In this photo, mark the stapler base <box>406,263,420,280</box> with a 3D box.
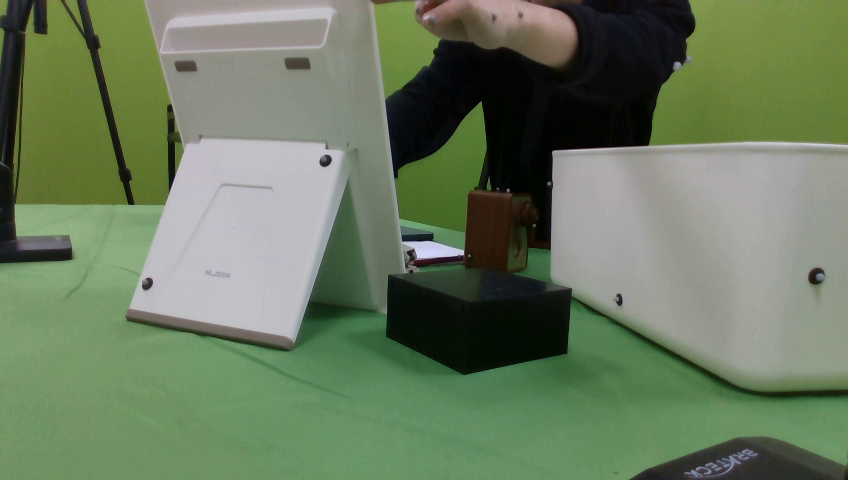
[{"bbox_3d":[-0.069,0.027,0.759,0.130,0.024,0.041,10,14,23],"label":"stapler base"}]

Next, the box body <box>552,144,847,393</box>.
[{"bbox_3d":[0.290,0.002,0.549,0.255,0.160,0.363,2,7,-10],"label":"box body"}]

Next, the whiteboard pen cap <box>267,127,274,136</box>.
[{"bbox_3d":[-0.340,-0.239,1.337,0.018,0.018,0.033,1,-1,-14],"label":"whiteboard pen cap"}]

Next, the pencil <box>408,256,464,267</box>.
[{"bbox_3d":[0.041,0.028,0.850,0.195,0.012,0.012,-4,10,-44],"label":"pencil"}]

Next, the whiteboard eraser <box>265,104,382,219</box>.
[{"bbox_3d":[-0.093,-0.067,0.540,0.112,0.056,0.042,-35,15,35],"label":"whiteboard eraser"}]

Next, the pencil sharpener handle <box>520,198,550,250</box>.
[{"bbox_3d":[0.147,-0.020,0.785,0.030,0.068,0.036,8,26,36],"label":"pencil sharpener handle"}]

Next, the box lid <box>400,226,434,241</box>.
[{"bbox_3d":[-0.196,-0.015,1.105,0.373,0.015,0.262,-1,7,-32],"label":"box lid"}]

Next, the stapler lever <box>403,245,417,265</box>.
[{"bbox_3d":[-0.066,0.003,0.754,0.117,0.040,0.027,9,14,23],"label":"stapler lever"}]

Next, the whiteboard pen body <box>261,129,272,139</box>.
[{"bbox_3d":[-0.361,-0.245,1.393,0.017,0.017,0.140,0,5,-20],"label":"whiteboard pen body"}]

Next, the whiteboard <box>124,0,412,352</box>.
[{"bbox_3d":[-0.151,-0.050,0.471,0.216,0.305,0.144,6,27,24],"label":"whiteboard"}]

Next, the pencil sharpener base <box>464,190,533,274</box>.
[{"bbox_3d":[0.103,-0.012,0.812,0.076,0.107,0.061,8,9,36],"label":"pencil sharpener base"}]
